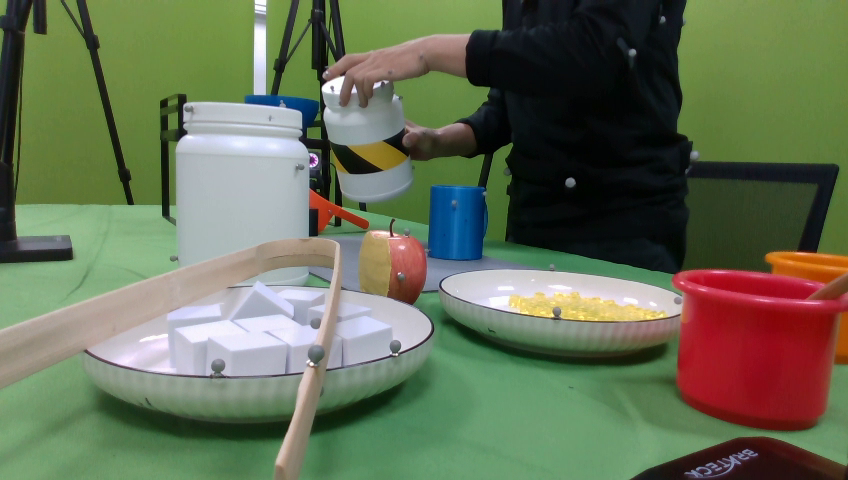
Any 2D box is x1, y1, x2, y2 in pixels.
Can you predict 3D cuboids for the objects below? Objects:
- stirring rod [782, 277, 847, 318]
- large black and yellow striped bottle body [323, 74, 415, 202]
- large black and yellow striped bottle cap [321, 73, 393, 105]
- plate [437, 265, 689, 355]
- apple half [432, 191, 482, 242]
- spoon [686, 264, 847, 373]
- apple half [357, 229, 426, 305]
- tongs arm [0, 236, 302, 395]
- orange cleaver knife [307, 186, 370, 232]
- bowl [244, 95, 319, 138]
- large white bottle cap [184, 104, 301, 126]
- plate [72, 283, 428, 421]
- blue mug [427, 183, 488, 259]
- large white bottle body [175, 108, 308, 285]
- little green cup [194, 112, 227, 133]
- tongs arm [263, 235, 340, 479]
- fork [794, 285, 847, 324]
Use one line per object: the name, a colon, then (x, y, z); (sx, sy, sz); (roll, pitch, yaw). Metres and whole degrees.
stirring rod: (0.344, 0.019, 0.461); (0.014, 0.006, 0.176); (-13, -27, -30)
large black and yellow striped bottle body: (-0.092, -0.171, 1.007); (0.131, 0.184, 0.130); (-8, 30, 5)
large black and yellow striped bottle cap: (-0.107, -0.242, 0.966); (0.115, 0.019, 0.115); (-6, 29, 4)
plate: (0.114, 0.057, 0.517); (0.209, 0.038, 0.209); (3, 8, 0)
apple half: (0.048, -0.037, 0.906); (0.081, 0.081, 0.033); (2, 15, 0)
spoon: (0.214, 0.032, 0.328); (0.042, 0.021, 0.193); (-3, -35, -26)
apple half: (-0.026, 0.028, 0.570); (0.053, 0.074, 0.080); (3, 2, -28)
tongs arm: (-0.158, 0.038, 0.351); (0.028, 0.028, 0.388); (-3, 8, 12)
orange cleaver knife: (-0.196, -0.056, 1.140); (0.212, 0.077, 0.012); (29, 0, -34)
bowl: (-0.293, -0.251, 1.249); (0.151, 0.077, 0.151); (2, 8, 0)
large white bottle cap: (-0.184, -0.126, 0.618); (0.115, 0.018, 0.115); (2, 8, 0)
plate: (-0.102, 0.066, 0.381); (0.208, 0.039, 0.207); (2, 7, 0)
blue mug: (0.059, -0.031, 0.907); (0.082, 0.106, 0.117); (9, 9, 42)
large white bottle body: (-0.188, -0.042, 0.630); (0.131, 0.184, 0.130); (2, 8, 0)
little green cup: (-0.412, -0.228, 1.171); (0.061, 0.038, 0.061); (2, 8, 0)
tongs arm: (-0.074, 0.039, 0.349); (0.051, 0.026, 0.384); (-2, 10, -3)
fork: (0.332, 0.018, 0.443); (0.028, 0.018, 0.207); (-1, -36, -15)
